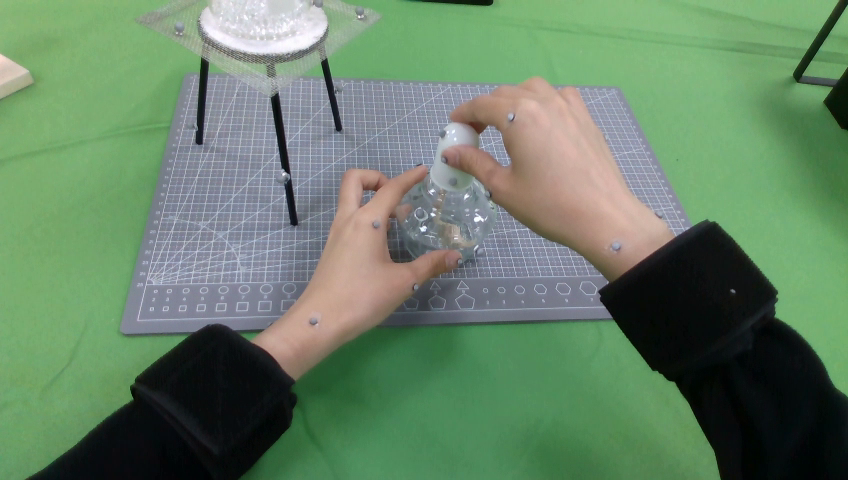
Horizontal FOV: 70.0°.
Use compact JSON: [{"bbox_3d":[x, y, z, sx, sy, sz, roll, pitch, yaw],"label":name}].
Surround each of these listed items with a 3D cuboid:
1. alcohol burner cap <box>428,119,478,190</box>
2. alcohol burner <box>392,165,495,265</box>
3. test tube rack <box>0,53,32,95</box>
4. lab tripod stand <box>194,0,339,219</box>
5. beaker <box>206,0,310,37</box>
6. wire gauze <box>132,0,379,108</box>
[{"bbox_3d":[0.021,-0.060,0.414,0.034,0.048,0.033,3,53,-4],"label":"alcohol burner cap"},{"bbox_3d":[0.017,-0.037,0.443,0.078,0.120,0.077,5,47,-6],"label":"alcohol burner"},{"bbox_3d":[-0.448,-0.118,0.463,0.066,0.086,0.241,30,52,16],"label":"test tube rack"},{"bbox_3d":[-0.118,-0.111,0.472,0.149,0.132,0.147,6,50,-6],"label":"lab tripod stand"},{"bbox_3d":[-0.112,-0.190,0.389,0.073,0.101,0.084,37,56,21],"label":"beaker"},{"bbox_3d":[-0.113,-0.154,0.423,0.124,0.011,0.121,32,55,13],"label":"wire gauze"}]
